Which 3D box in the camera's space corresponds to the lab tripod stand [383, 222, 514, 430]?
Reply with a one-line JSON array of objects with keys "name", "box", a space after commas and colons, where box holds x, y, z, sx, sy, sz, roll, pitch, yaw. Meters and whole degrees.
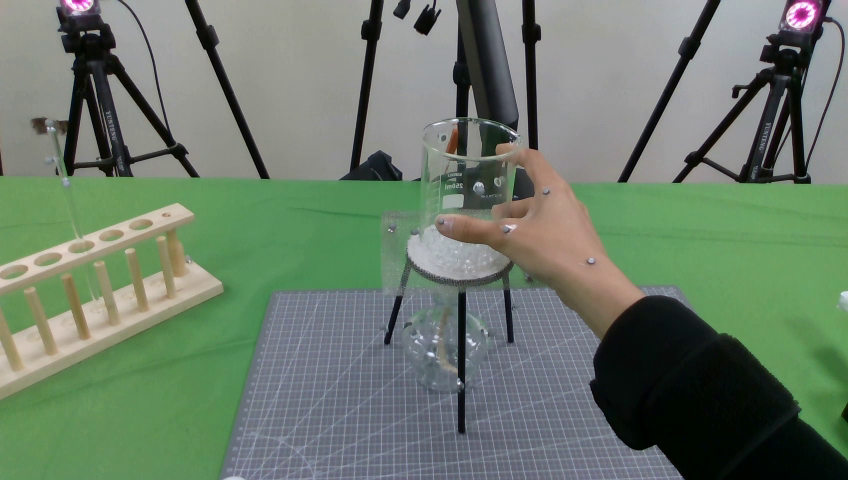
[{"name": "lab tripod stand", "box": [0.028, 0.064, 0.523, 0.148, 0.132, 0.147, 3, 33, -1]}]

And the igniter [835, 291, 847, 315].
[{"name": "igniter", "box": [0.426, 0.121, 0.470, 0.057, 0.025, 0.274, -2, 29, -5]}]

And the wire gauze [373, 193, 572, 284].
[{"name": "wire gauze", "box": [0.034, -0.003, 0.476, 0.125, 0.011, 0.120, -8, 31, -24]}]

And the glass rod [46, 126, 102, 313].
[{"name": "glass rod", "box": [-0.314, -0.009, 0.546, 0.008, 0.201, 0.008, 5, 34, -3]}]

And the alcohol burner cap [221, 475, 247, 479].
[{"name": "alcohol burner cap", "box": [-0.130, 0.181, 0.414, 0.034, 0.048, 0.033, 4, 34, -2]}]

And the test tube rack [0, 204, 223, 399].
[{"name": "test tube rack", "box": [-0.321, 0.054, 0.571, 0.066, 0.086, 0.242, 28, 40, 34]}]

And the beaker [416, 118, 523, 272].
[{"name": "beaker", "box": [0.033, -0.033, 0.463, 0.084, 0.101, 0.073, -13, 37, -23]}]

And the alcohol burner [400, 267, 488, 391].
[{"name": "alcohol burner", "box": [0.019, 0.073, 0.527, 0.078, 0.120, 0.077, 3, 32, -1]}]
